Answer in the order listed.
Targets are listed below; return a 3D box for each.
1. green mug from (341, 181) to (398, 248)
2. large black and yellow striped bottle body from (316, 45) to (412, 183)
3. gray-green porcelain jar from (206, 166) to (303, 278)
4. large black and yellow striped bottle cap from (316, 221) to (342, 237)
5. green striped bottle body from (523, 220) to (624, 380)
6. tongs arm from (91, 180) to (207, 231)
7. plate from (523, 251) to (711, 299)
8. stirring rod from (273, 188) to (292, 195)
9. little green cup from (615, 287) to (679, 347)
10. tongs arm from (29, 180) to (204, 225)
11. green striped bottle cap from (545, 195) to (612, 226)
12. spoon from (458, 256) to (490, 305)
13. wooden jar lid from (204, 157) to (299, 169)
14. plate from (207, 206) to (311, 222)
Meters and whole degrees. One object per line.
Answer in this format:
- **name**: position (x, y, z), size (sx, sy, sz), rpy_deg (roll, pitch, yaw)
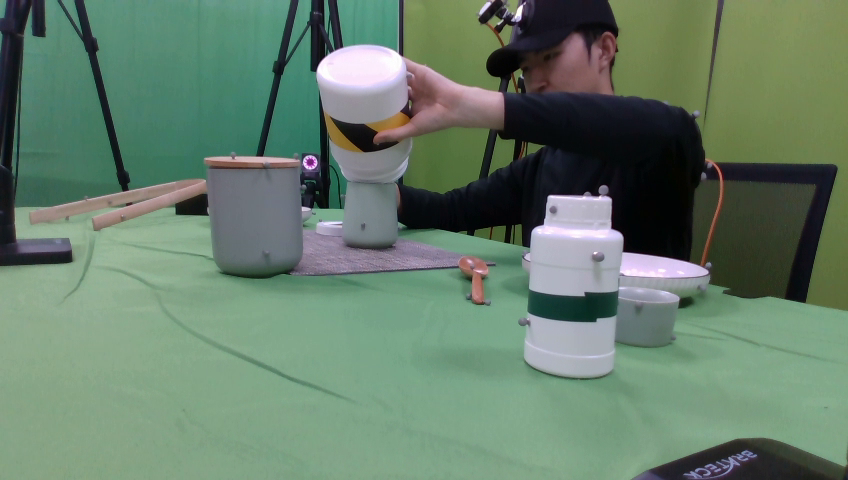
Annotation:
- **green mug**: position (-0.090, -0.044, 0.996), size (0.093, 0.105, 0.125), rpy_deg (1, 7, -10)
- **large black and yellow striped bottle body**: position (-0.086, -0.185, 0.924), size (0.131, 0.184, 0.130), rpy_deg (-2, 44, 2)
- **gray-green porcelain jar**: position (-0.201, -0.024, 0.724), size (0.106, 0.126, 0.106), rpy_deg (-1, 9, 1)
- **large black and yellow striped bottle cap**: position (-0.147, -0.021, 1.147), size (0.115, 0.019, 0.115), rpy_deg (2, 9, 0)
- **green striped bottle body**: position (0.104, 0.031, 0.422), size (0.063, 0.119, 0.063), rpy_deg (2, 8, 0)
- **tongs arm**: position (-0.534, -0.076, 1.221), size (0.028, 0.028, 0.388), rpy_deg (-2, 15, 12)
- **plate**: position (0.219, 0.041, 0.706), size (0.209, 0.038, 0.209), rpy_deg (2, 7, 0)
- **stirring rod**: position (-0.354, -0.122, 1.519), size (0.006, 0.014, 0.176), rpy_deg (2, 6, 1)
- **little green cup**: position (0.180, 0.064, 0.506), size (0.061, 0.038, 0.061), rpy_deg (2, 8, 0)
- **tongs arm**: position (-0.609, -0.083, 1.245), size (0.050, 0.026, 0.386), rpy_deg (5, 16, 23)
- **green striped bottle cap**: position (0.106, -0.020, 0.414), size (0.044, 0.020, 0.044), rpy_deg (2, 4, 0)
- **spoon**: position (0.059, 0.044, 0.695), size (0.041, 0.021, 0.194), rpy_deg (17, 7, 1)
- **wooden jar lid**: position (-0.202, -0.086, 0.714), size (0.108, 0.020, 0.108), rpy_deg (3, 11, 0)
- **plate**: position (-0.342, -0.050, 1.259), size (0.208, 0.039, 0.207), rpy_deg (3, 7, 0)
